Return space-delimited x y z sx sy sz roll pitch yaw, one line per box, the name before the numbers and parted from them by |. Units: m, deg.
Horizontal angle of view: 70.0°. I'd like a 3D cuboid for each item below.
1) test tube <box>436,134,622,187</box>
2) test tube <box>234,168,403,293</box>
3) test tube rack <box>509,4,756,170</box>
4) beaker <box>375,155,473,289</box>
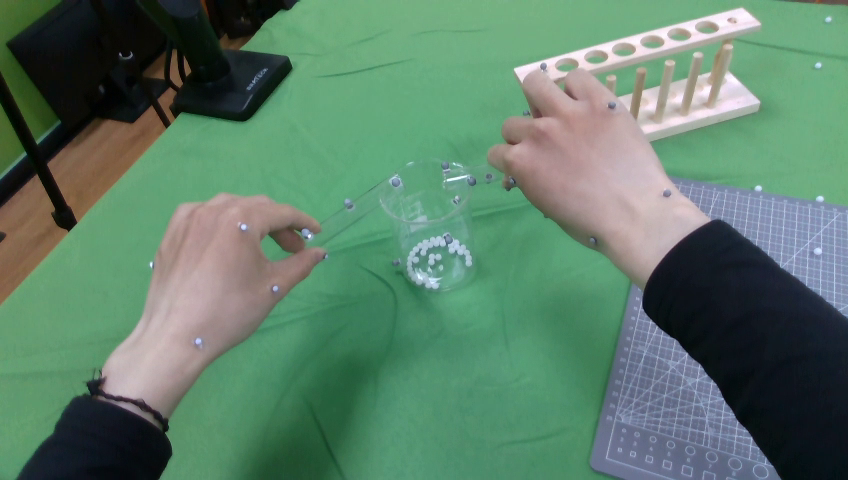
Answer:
test tube | 0.083 -0.062 0.472 0.150 0.017 0.017 -12 49 -7
test tube | -0.079 -0.007 0.459 0.150 0.017 0.017 -35 53 -4
test tube rack | 0.213 -0.154 0.611 0.242 0.086 0.066 -16 50 -4
beaker | 0.006 -0.013 0.520 0.084 0.101 0.073 -37 55 -21
